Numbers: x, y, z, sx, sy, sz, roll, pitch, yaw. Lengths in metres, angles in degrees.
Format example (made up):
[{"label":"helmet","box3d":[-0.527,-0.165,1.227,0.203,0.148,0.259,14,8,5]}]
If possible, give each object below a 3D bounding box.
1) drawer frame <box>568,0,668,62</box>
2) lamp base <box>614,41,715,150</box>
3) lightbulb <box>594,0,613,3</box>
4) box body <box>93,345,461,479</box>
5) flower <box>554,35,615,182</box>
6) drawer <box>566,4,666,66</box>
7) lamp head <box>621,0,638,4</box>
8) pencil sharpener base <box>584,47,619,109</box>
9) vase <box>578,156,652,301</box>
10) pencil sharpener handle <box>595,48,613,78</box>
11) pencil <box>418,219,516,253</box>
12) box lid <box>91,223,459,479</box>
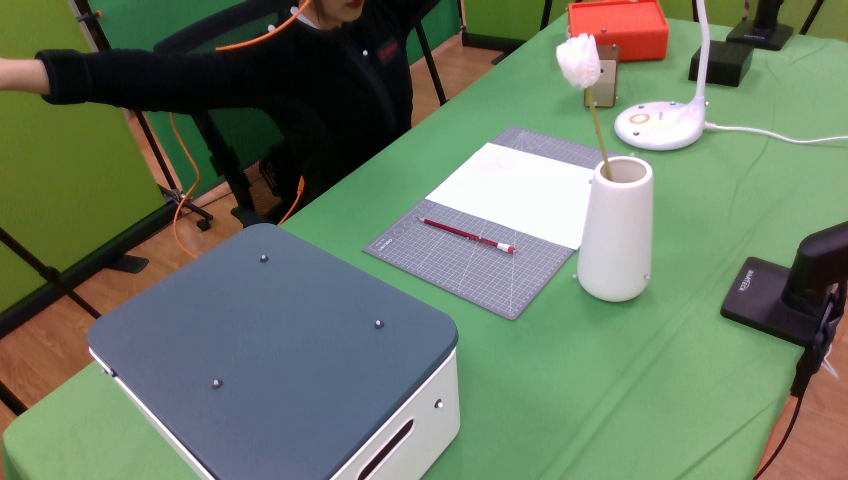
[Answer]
[{"label":"drawer frame","box3d":[0.450,-0.496,1.441,0.213,0.083,0.201,-1,40,9]},{"label":"lamp base","box3d":[0.449,-0.277,1.106,0.179,0.181,0.160,1,41,9]},{"label":"lightbulb","box3d":[0.305,-0.438,0.978,0.060,0.107,0.059,13,43,-11]},{"label":"box body","box3d":[-0.162,0.170,0.708,0.361,0.161,0.255,25,50,34]},{"label":"flower","box3d":[0.237,-0.083,0.774,0.044,0.363,0.038,-22,26,6]},{"label":"drawer","box3d":[0.447,-0.493,1.441,0.211,0.073,0.194,0,40,10]},{"label":"lamp head","box3d":[0.319,-0.453,0.962,0.113,0.123,0.112,20,33,-13]},{"label":"pencil sharpener base","box3d":[0.367,-0.336,1.249,0.061,0.107,0.076,6,42,19]},{"label":"vase","box3d":[0.261,-0.011,0.812,0.098,0.201,0.097,-4,40,4]},{"label":"pencil sharpener handle","box3d":[0.382,-0.378,1.276,0.036,0.068,0.030,3,41,21]},{"label":"pencil","box3d":[0.066,-0.009,0.992,0.192,0.012,0.012,19,47,32]},{"label":"box lid","box3d":[-0.174,0.103,0.667,0.368,0.015,0.264,24,48,35]}]
